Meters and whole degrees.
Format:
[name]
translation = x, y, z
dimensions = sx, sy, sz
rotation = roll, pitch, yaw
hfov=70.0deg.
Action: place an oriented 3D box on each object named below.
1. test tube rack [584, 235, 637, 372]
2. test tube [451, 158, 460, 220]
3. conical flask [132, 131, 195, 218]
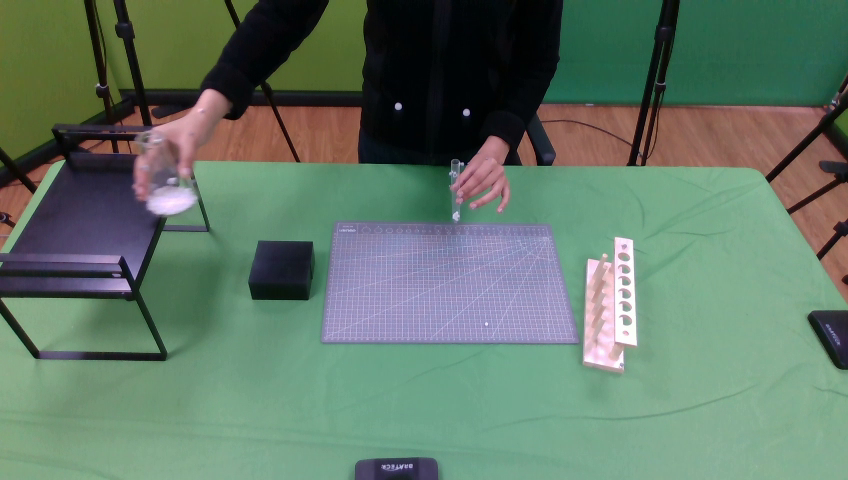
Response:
[test tube rack]
translation = 0.329, 0.103, 1.073
dimensions = 0.067, 0.085, 0.241
rotation = 11, 47, 7
[test tube]
translation = 0.057, -0.088, 1.083
dimensions = 0.017, 0.151, 0.017
rotation = -2, 50, 3
[conical flask]
translation = -0.386, -0.098, 0.883
dimensions = 0.075, 0.122, 0.075
rotation = -1, 43, 1
